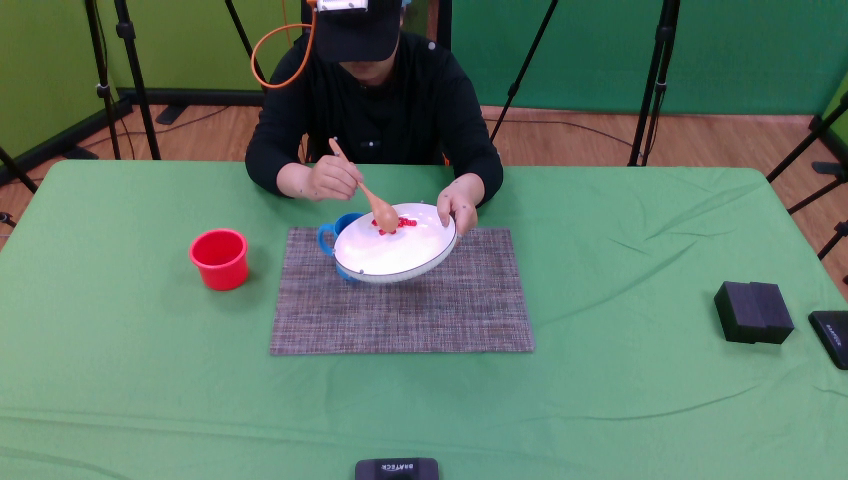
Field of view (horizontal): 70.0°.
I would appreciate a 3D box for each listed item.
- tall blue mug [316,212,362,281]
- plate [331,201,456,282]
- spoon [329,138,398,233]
[{"bbox_3d":[-0.141,0.014,1.109,0.107,0.108,0.077,-4,48,-8],"label":"tall blue mug"},{"bbox_3d":[-0.048,0.006,1.000,0.207,0.039,0.206,-9,34,6],"label":"plate"},{"bbox_3d":[-0.108,-0.095,1.034,0.041,0.022,0.193,-34,82,-23],"label":"spoon"}]
